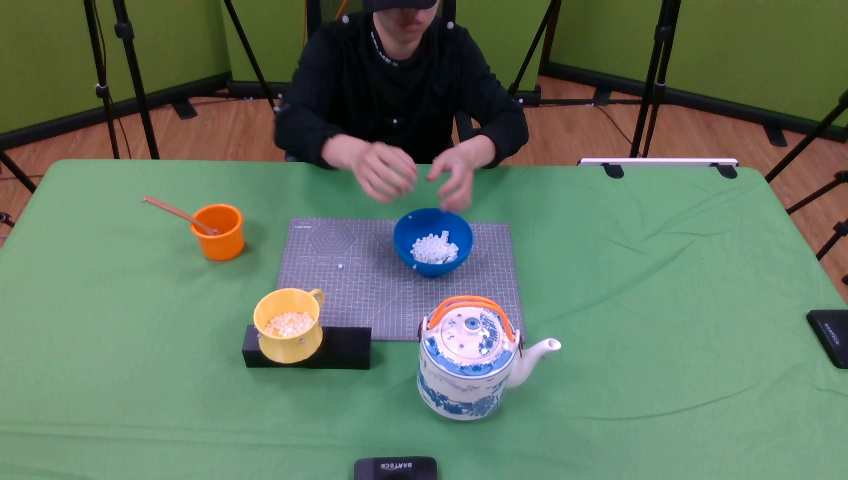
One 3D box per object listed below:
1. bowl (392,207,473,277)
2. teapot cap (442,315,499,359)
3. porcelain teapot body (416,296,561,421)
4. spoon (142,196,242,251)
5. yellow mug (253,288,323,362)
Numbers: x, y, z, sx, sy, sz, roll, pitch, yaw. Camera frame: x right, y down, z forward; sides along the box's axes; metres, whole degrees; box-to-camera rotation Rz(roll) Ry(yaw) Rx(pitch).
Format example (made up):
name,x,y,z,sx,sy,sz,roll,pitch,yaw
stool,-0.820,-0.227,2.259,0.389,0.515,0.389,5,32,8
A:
name,x,y,z,sx,sy,sz,roll,pitch,yaw
bowl,0.014,0.016,1.140,0.151,0.077,0.150,2,46,-2
teapot cap,0.068,0.133,0.880,0.085,0.044,0.084,4,45,-4
porcelain teapot body,0.094,0.164,0.907,0.205,0.226,0.144,6,45,1
spoon,-0.421,-0.032,1.108,0.021,0.195,0.041,-32,40,28
yellow mug,-0.205,0.124,0.963,0.099,0.064,0.130,28,48,20
